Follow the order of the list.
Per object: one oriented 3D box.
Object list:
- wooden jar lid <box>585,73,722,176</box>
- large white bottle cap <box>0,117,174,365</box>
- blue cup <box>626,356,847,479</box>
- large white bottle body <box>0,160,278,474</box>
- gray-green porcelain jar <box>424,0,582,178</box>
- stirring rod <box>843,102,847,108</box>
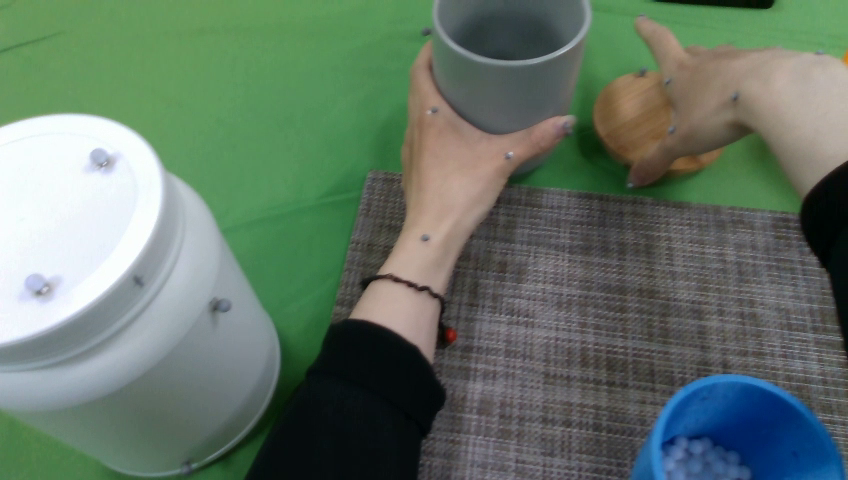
[{"bbox_3d":[0.186,-0.094,0.500,0.108,0.021,0.107,0,57,0],"label":"wooden jar lid"},{"bbox_3d":[-0.165,-0.004,0.252,0.115,0.018,0.114,0,58,1],"label":"large white bottle cap"},{"bbox_3d":[0.146,0.126,0.311,0.092,0.101,0.092,-1,57,2],"label":"blue cup"},{"bbox_3d":[-0.162,0.041,0.324,0.130,0.186,0.129,0,58,1],"label":"large white bottle body"},{"bbox_3d":[0.054,-0.117,0.453,0.106,0.127,0.105,-1,58,1],"label":"gray-green porcelain jar"},{"bbox_3d":[0.335,-0.093,0.427,0.014,0.006,0.176,13,17,13],"label":"stirring rod"}]
